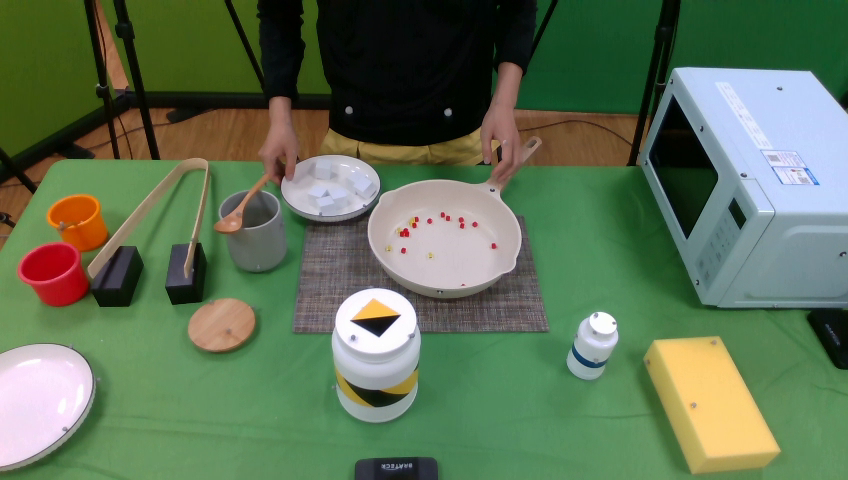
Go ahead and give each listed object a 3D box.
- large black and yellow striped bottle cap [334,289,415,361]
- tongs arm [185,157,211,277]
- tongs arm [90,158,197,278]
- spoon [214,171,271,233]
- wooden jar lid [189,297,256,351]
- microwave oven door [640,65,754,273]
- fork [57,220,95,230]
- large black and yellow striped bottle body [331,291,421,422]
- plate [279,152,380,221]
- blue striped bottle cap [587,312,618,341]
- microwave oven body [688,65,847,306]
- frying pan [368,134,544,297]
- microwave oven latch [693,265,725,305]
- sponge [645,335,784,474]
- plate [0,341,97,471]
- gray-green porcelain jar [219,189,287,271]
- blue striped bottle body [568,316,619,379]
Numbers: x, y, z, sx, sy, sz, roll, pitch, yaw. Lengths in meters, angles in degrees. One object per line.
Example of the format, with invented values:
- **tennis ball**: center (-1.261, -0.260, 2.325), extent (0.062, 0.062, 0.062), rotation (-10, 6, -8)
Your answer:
- **large black and yellow striped bottle cap**: center (-0.069, 0.117, 0.850), extent (0.115, 0.019, 0.114), rotation (2, 45, -2)
- **tongs arm**: center (-0.446, -0.057, 1.168), extent (0.051, 0.026, 0.382), rotation (-5, 37, -6)
- **tongs arm**: center (-0.529, -0.057, 1.163), extent (0.028, 0.028, 0.385), rotation (1, 36, 7)
- **spoon**: center (-0.312, -0.070, 1.070), extent (0.041, 0.022, 0.193), rotation (11, 43, 9)
- **wooden jar lid**: center (-0.342, 0.145, 1.033), extent (0.108, 0.021, 0.107), rotation (2, 45, -2)
- **microwave oven door**: center (0.523, -0.147, 1.193), extent (0.039, 0.245, 0.353), rotation (0, 47, -3)
- **fork**: center (-0.624, -0.027, 1.086), extent (0.028, 0.207, 0.018), rotation (-3, 92, -17)
- **large black and yellow striped bottle body**: center (-0.071, 0.175, 0.911), extent (0.131, 0.185, 0.130), rotation (2, 47, -2)
- **plate**: center (-0.196, -0.107, 1.269), extent (0.208, 0.039, 0.206), rotation (2, 45, -2)
- **blue striped bottle cap**: center (0.279, 0.134, 0.947), extent (0.044, 0.021, 0.044), rotation (2, 45, -2)
- **microwave oven body**: center (0.669, -0.111, 1.176), extent (0.326, 0.261, 0.439), rotation (0, 46, -3)
- **frying pan**: center (0.104, -0.069, 1.205), extent (0.305, 0.103, 0.487), rotation (32, 61, 23)
- **microwave oven latch**: center (0.523, 0.081, 1.116), extent (0.030, 0.029, 0.078), rotation (2, 46, -1)
- **sponge**: center (0.449, 0.253, 0.956), extent (0.118, 0.061, 0.205), rotation (-4, 46, -7)
- **plate**: center (-0.599, 0.247, 0.904), extent (0.209, 0.038, 0.208), rotation (2, 47, -2)
- **gray-green porcelain jar**: center (-0.309, -0.014, 1.113), extent (0.106, 0.127, 0.105), rotation (2, 46, -2)
- **blue striped bottle body**: center (0.276, 0.168, 0.984), extent (0.063, 0.121, 0.062), rotation (2, 46, -2)
